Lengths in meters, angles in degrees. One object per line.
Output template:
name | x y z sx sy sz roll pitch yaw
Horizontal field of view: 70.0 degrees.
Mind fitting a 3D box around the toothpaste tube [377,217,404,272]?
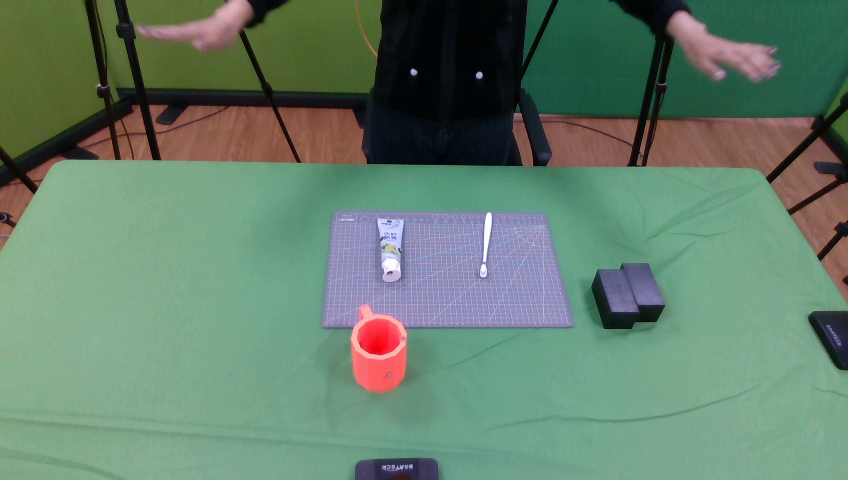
toothpaste tube | -0.063 0.008 1.179 0.055 0.034 0.164 5 42 -9

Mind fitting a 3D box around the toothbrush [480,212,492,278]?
toothbrush | 0.124 0.004 1.202 0.014 0.017 0.181 -3 43 14

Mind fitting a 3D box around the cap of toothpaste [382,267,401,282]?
cap of toothpaste | -0.060 0.063 1.119 0.037 0.037 0.011 -9 50 -12

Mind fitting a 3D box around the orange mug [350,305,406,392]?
orange mug | -0.080 0.168 0.978 0.083 0.101 0.125 -16 54 -18
